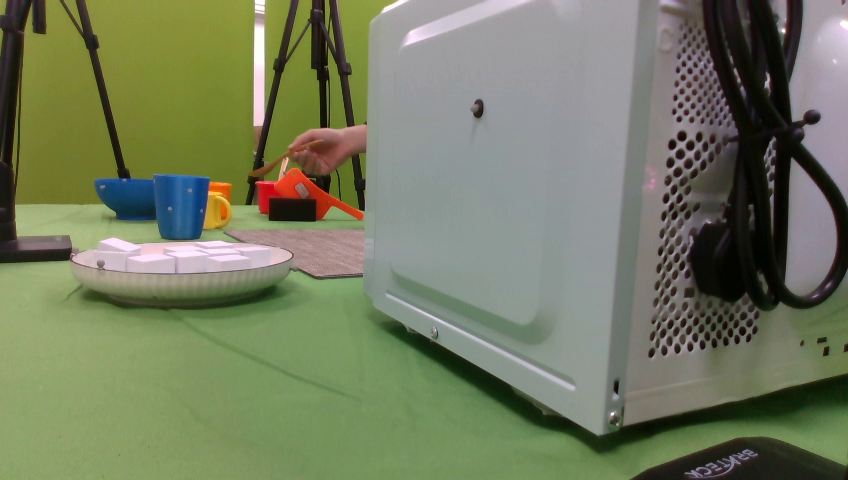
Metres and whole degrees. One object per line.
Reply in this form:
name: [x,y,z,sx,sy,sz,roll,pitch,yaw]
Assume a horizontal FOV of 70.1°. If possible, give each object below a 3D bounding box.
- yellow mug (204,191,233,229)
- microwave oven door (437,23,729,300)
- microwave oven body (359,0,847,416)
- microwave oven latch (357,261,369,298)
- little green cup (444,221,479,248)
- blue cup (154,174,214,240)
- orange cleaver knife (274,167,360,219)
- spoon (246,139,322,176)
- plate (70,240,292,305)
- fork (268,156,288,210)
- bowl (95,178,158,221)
yellow mug: [-0.415,-0.057,1.132,0.130,0.064,0.100,6,8,16]
microwave oven door: [0.181,-0.072,0.621,0.358,0.243,0.039,-2,9,-29]
microwave oven body: [0.211,-0.047,0.474,0.444,0.260,0.324,-1,7,-28]
microwave oven latch: [-0.019,0.034,0.530,0.079,0.029,0.030,0,7,-25]
little green cup: [0.064,-0.009,1.035,0.061,0.038,0.061,3,11,0]
blue cup: [-0.390,-0.053,0.978,0.093,0.100,0.092,3,6,0]
orange cleaver knife: [-0.238,-0.090,1.381,0.212,0.077,0.012,31,0,-19]
spoon: [-0.287,-0.169,1.236,0.193,0.021,0.042,-24,-7,25]
plate: [-0.242,0.031,0.618,0.208,0.039,0.207,2,8,0]
fork: [-0.360,-0.144,1.507,0.028,0.018,0.207,1,49,0]
bowl: [-0.576,-0.081,1.217,0.151,0.077,0.151,3,8,0]
